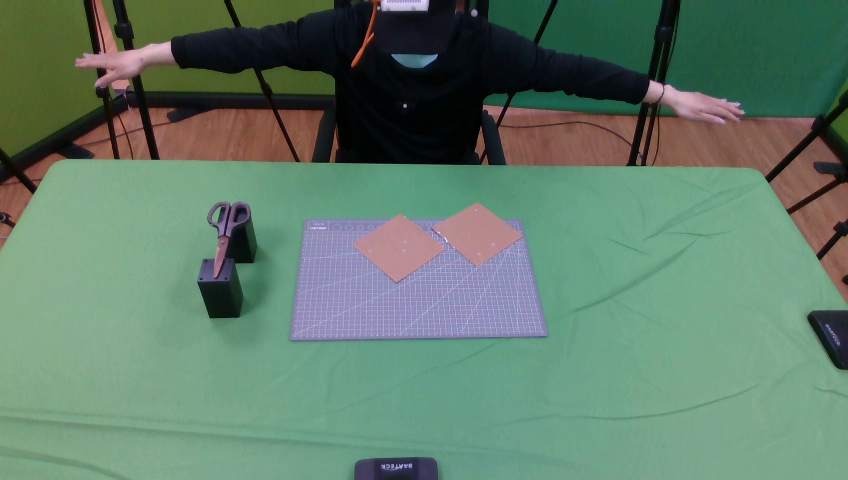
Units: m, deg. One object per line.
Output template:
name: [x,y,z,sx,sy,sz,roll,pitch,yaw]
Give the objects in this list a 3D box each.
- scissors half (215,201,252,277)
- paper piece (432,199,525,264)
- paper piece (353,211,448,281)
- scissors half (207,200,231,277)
scissors half: [-0.332,-0.005,1.046,0.040,0.013,0.174,6,48,1]
paper piece: [0.111,-0.021,1.227,0.138,0.009,0.135,-29,58,-29]
paper piece: [-0.047,0.008,1.188,0.135,0.004,0.134,-34,58,-30]
scissors half: [-0.352,-0.005,1.043,0.040,0.013,0.174,-4,49,-15]
